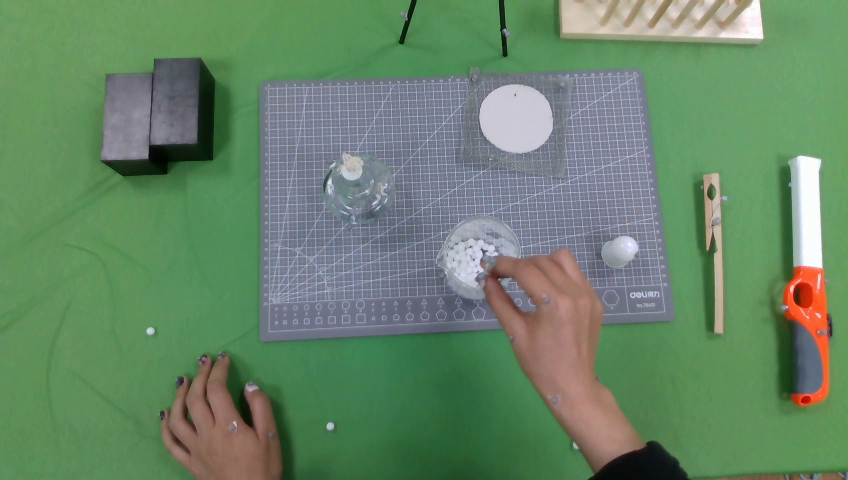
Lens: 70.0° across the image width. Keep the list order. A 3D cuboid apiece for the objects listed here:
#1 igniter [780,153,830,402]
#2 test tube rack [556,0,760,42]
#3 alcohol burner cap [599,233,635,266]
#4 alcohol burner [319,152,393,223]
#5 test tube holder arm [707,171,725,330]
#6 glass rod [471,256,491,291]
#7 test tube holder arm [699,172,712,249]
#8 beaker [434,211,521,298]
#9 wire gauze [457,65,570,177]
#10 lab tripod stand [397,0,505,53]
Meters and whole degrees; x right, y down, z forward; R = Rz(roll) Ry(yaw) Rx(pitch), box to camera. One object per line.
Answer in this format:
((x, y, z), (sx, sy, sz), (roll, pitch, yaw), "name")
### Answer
((0.418, 0.038, 0.668), (0.057, 0.025, 0.275), (8, 79, -10), "igniter")
((0.283, -0.284, 0.699), (0.242, 0.085, 0.066), (1, 78, -1), "test tube rack")
((0.212, 0.008, 0.658), (0.034, 0.048, 0.033), (0, 78, -1), "alcohol burner cap")
((-0.072, -0.060, 0.627), (0.078, 0.119, 0.077), (0, 77, 1), "alcohol burner")
((0.323, 0.010, 0.673), (0.013, 0.015, 0.177), (-7, 76, 33), "test tube holder arm")
((0.051, 0.034, 0.562), (0.008, 0.200, 0.008), (0, 79, 1), "glass rod")
((0.320, -0.033, 0.685), (0.010, 0.015, 0.087), (-6, 77, 33), "test tube holder arm")
((0.050, 0.020, 0.622), (0.084, 0.100, 0.073), (-10, 78, -3), "beaker")
((0.105, -0.141, 0.703), (0.125, 0.011, 0.121), (8, 80, -1), "wire gauze")
((0.037, -0.277, 0.667), (0.148, 0.132, 0.148), (0, 80, -1), "lab tripod stand")
